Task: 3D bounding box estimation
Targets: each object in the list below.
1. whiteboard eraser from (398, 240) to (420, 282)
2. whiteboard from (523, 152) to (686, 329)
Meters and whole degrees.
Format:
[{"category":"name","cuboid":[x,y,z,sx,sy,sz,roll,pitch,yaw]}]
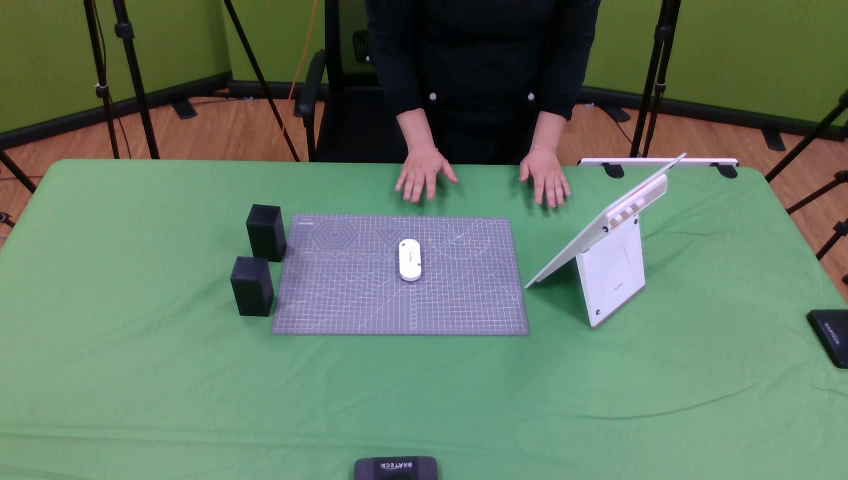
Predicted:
[{"category":"whiteboard eraser","cuboid":[-0.029,0.039,1.156,0.041,0.019,0.100,0,45,-3]},{"category":"whiteboard","cuboid":[0.346,0.024,1.047,0.217,0.306,0.143,-30,74,-29]}]
